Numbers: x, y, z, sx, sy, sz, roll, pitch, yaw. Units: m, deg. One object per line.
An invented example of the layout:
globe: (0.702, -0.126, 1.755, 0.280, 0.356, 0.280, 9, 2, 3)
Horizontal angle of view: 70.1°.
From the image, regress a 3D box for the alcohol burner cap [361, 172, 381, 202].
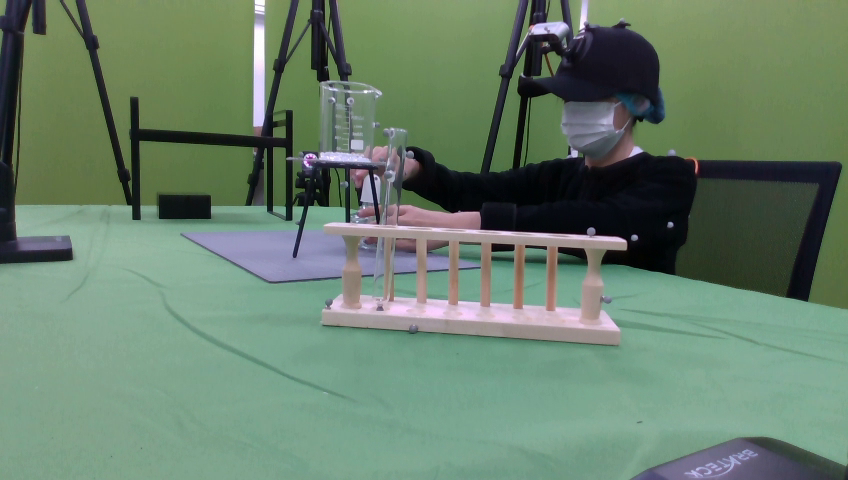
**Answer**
alcohol burner cap: (-0.081, -0.084, 0.949, 0.034, 0.048, 0.034, 7, 7, -1)

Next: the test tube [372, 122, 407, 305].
test tube: (-0.029, -0.020, 0.493, 0.017, 0.150, 0.017, 6, 9, -1)

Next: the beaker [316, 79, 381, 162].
beaker: (-0.098, -0.151, 0.778, 0.084, 0.100, 0.074, 4, 7, 6)

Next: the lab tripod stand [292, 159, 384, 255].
lab tripod stand: (-0.105, -0.039, 0.797, 0.148, 0.131, 0.148, 2, 5, 0)

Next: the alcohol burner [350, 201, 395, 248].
alcohol burner: (-0.084, -0.048, 0.953, 0.078, 0.119, 0.078, 1, 6, 0)

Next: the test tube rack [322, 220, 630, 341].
test tube rack: (0.041, 0.029, 0.512, 0.242, 0.085, 0.067, 3, 7, 5)

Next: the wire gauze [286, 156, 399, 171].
wire gauze: (-0.101, -0.103, 0.788, 0.121, 0.011, 0.125, 5, 4, 6)
